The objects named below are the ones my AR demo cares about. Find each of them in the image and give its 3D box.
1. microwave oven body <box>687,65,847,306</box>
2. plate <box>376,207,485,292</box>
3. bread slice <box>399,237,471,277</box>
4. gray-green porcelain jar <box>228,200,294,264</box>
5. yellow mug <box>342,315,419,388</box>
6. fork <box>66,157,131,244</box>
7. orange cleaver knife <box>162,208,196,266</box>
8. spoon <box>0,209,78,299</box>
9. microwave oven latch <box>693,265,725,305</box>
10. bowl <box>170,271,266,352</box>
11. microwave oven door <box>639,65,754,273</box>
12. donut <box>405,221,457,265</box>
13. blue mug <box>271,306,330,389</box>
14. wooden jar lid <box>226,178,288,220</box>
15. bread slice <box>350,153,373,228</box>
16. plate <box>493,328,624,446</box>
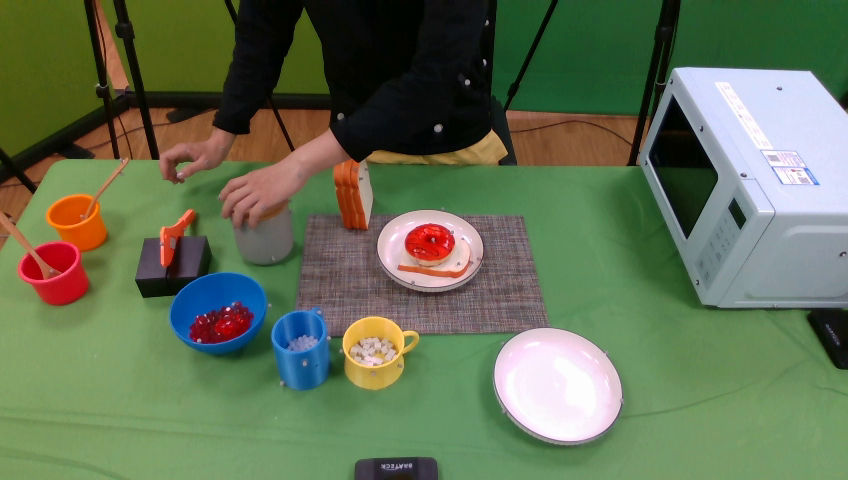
[{"bbox_3d":[0.669,-0.111,1.176,0.326,0.261,0.439,0,46,-3],"label":"microwave oven body"},{"bbox_3d":[0.012,0.021,1.159,0.209,0.038,0.208,2,47,-2],"label":"plate"},{"bbox_3d":[0.025,0.025,1.161,0.131,0.019,0.104,7,47,7],"label":"bread slice"},{"bbox_3d":[-0.300,-0.027,1.126,0.106,0.127,0.105,2,46,-2],"label":"gray-green porcelain jar"},{"bbox_3d":[-0.068,0.177,0.991,0.131,0.064,0.099,-15,50,-20],"label":"yellow mug"},{"bbox_3d":[-0.608,-0.074,1.132,0.207,0.019,0.028,-52,49,10],"label":"fork"},{"bbox_3d":[-0.454,-0.010,1.129,0.012,0.077,0.210,-1,17,-6],"label":"orange cleaver knife"},{"bbox_3d":[-0.668,0.022,1.040,0.041,0.021,0.194,-41,105,-29],"label":"spoon"},{"bbox_3d":[0.522,0.081,1.115,0.030,0.029,0.078,2,46,-1],"label":"microwave oven latch"},{"bbox_3d":[-0.333,0.132,1.006,0.151,0.077,0.150,2,46,-2],"label":"bowl"},{"bbox_3d":[0.522,-0.147,1.192,0.039,0.245,0.353,0,47,-3],"label":"microwave oven door"},{"bbox_3d":[0.013,0.004,1.136,0.099,0.048,0.098,0,46,0],"label":"donut"},{"bbox_3d":[-0.188,0.163,0.969,0.082,0.106,0.116,15,47,10],"label":"blue mug"},{"bbox_3d":[-0.296,-0.070,1.081,0.108,0.021,0.107,1,45,0],"label":"wooden jar lid"},{"bbox_3d":[-0.125,-0.104,1.207,0.018,0.135,0.106,0,48,6],"label":"bread slice"},{"bbox_3d":[0.213,0.236,0.974,0.208,0.039,0.206,2,46,-2],"label":"plate"}]
